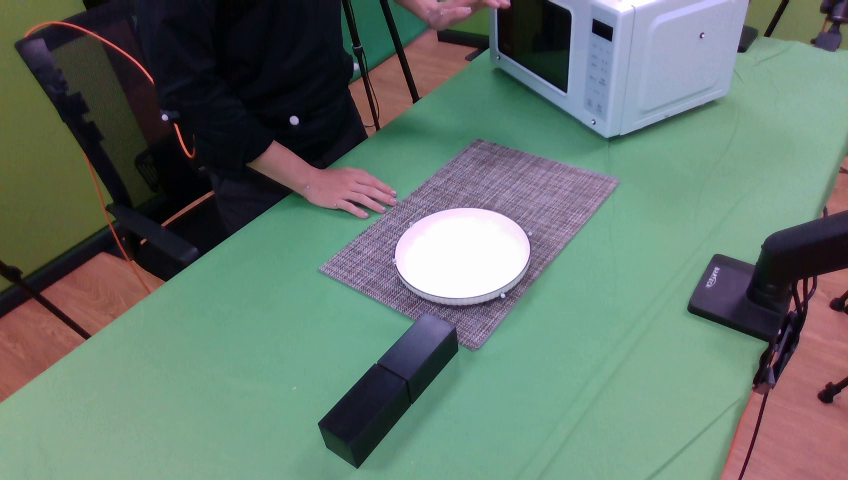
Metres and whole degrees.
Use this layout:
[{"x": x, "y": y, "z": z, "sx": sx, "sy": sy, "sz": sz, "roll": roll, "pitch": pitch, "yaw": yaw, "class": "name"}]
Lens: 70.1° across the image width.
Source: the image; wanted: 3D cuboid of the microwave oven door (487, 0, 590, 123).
[{"x": 0.232, "y": -0.420, "z": 1.231, "sx": 0.039, "sy": 0.245, "sz": 0.352, "roll": -22, "pitch": 43, "yaw": -16, "class": "microwave oven door"}]

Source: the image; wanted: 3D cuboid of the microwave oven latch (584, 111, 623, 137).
[{"x": 0.337, "y": -0.222, "z": 1.142, "sx": 0.030, "sy": 0.029, "sz": 0.078, "roll": -21, "pitch": 42, "yaw": -14, "class": "microwave oven latch"}]

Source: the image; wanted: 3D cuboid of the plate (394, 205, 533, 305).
[{"x": 0.059, "y": 0.025, "z": 0.915, "sx": 0.207, "sy": 0.039, "sz": 0.206, "roll": -4, "pitch": 41, "yaw": 4, "class": "plate"}]

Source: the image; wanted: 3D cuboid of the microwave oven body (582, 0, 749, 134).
[{"x": 0.382, "y": -0.444, "z": 1.246, "sx": 0.327, "sy": 0.261, "sz": 0.437, "roll": -22, "pitch": 42, "yaw": -16, "class": "microwave oven body"}]
